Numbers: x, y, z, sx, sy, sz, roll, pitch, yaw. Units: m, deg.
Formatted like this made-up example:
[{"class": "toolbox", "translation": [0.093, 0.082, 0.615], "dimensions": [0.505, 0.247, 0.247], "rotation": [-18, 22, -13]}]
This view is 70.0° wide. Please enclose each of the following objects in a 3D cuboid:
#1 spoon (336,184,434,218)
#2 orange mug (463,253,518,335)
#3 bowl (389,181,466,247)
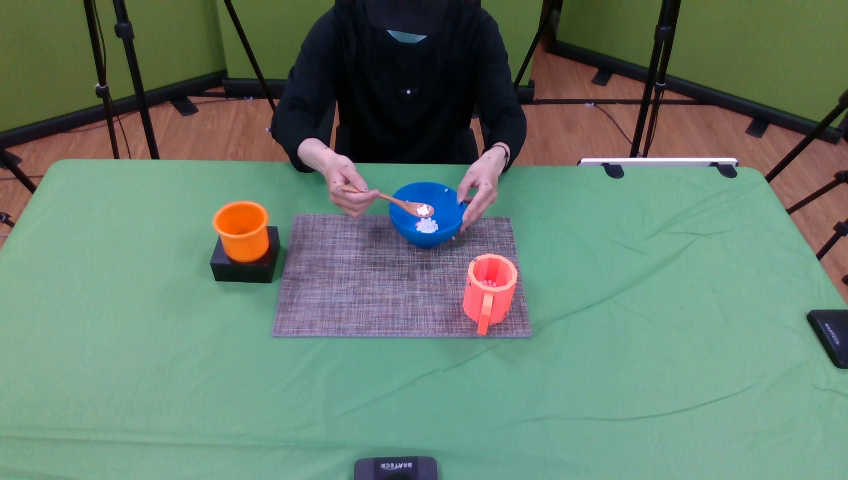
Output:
[{"class": "spoon", "translation": [-0.069, -0.075, 1.104], "dimensions": [0.194, 0.022, 0.041], "rotation": [18, 39, -27]}, {"class": "orange mug", "translation": [0.113, 0.098, 1.050], "dimensions": [0.083, 0.101, 0.125], "rotation": [10, 42, 6]}, {"class": "bowl", "translation": [0.005, -0.039, 1.189], "dimensions": [0.151, 0.077, 0.150], "rotation": [2, 46, -2]}]
